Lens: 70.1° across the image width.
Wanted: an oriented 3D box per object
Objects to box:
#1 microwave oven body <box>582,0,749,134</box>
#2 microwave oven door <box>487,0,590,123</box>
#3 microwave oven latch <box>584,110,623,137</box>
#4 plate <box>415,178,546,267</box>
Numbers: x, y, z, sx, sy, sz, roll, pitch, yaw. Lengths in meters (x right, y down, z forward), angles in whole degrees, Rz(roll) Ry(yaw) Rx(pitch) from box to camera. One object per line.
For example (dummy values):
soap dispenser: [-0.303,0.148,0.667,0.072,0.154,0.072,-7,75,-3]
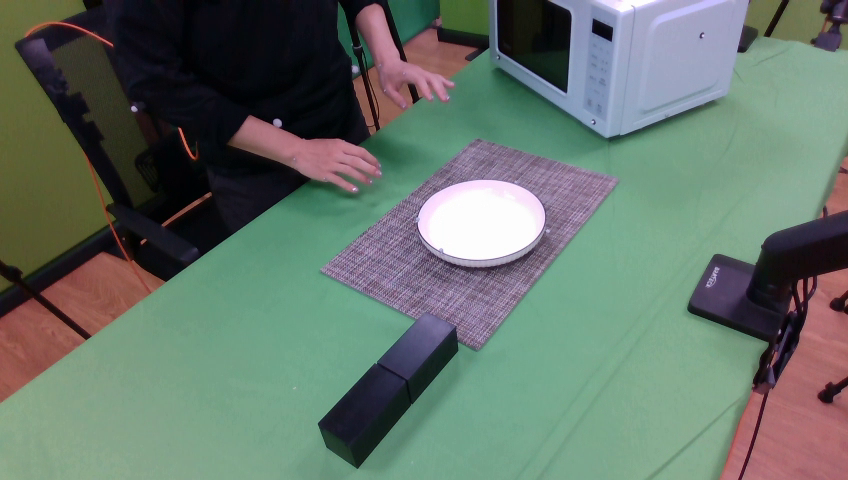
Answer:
microwave oven body: [0.382,-0.444,1.246,0.327,0.261,0.437,-22,42,-16]
microwave oven door: [0.232,-0.420,1.231,0.039,0.245,0.352,-22,43,-16]
microwave oven latch: [0.337,-0.222,1.142,0.030,0.029,0.078,-21,42,-14]
plate: [0.091,-0.026,0.970,0.207,0.039,0.206,-4,41,4]
